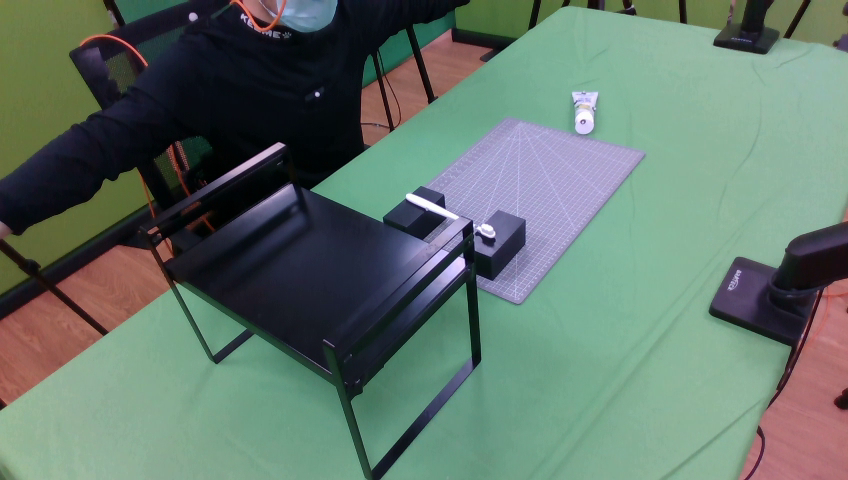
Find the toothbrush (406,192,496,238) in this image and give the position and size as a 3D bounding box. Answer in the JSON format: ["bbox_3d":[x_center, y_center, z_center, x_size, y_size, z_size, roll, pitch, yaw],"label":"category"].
[{"bbox_3d":[0.037,-0.043,0.937,0.180,0.017,0.014,26,66,35],"label":"toothbrush"}]

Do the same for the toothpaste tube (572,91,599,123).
[{"bbox_3d":[0.331,-0.272,1.234,0.055,0.034,0.164,8,39,8],"label":"toothpaste tube"}]

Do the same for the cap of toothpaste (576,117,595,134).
[{"bbox_3d":[0.313,-0.224,1.172,0.037,0.037,0.011,-2,41,5],"label":"cap of toothpaste"}]
